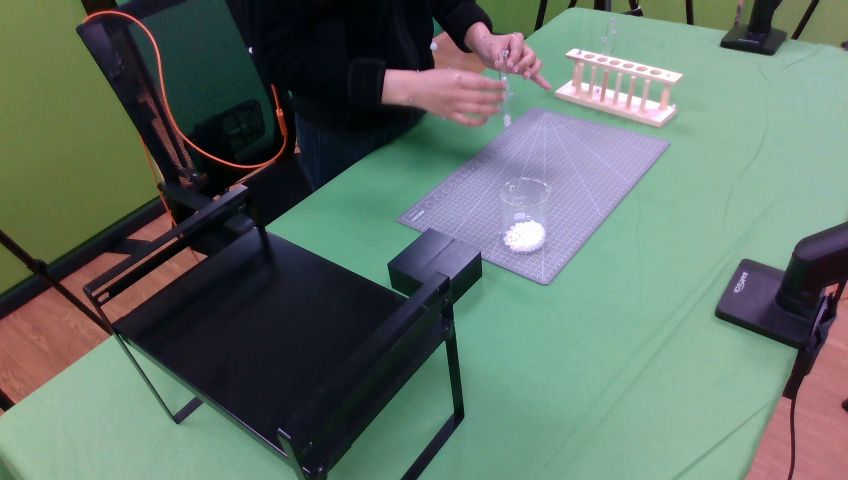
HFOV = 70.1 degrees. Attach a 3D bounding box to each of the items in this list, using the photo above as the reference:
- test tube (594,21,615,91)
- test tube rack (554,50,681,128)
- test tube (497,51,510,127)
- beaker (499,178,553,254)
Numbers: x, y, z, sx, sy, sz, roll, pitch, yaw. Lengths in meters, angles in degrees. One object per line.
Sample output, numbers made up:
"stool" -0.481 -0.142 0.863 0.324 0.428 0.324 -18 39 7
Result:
"test tube" 0.367 -0.372 1.232 0.017 0.151 0.017 0 43 0
"test tube rack" 0.388 -0.311 1.234 0.240 0.085 0.067 28 52 35
"test tube" 0.139 -0.257 1.044 0.017 0.151 0.017 -6 47 6
"beaker" 0.158 -0.035 0.929 0.084 0.100 0.073 -16 41 -12
